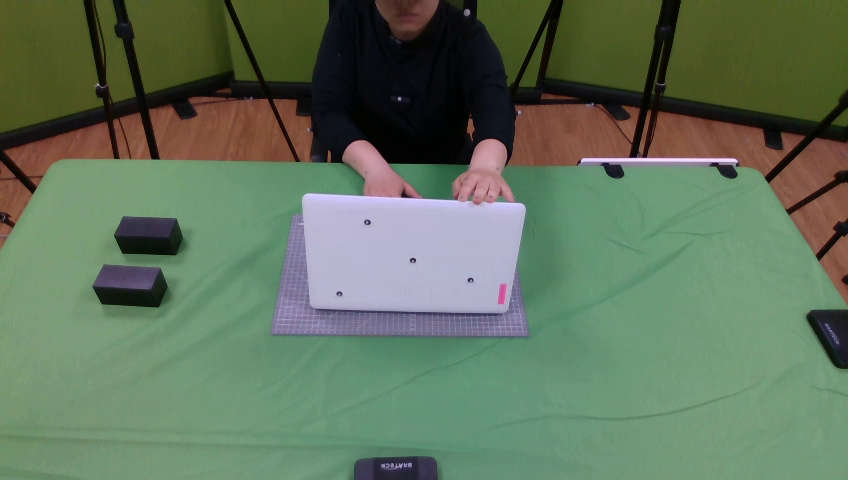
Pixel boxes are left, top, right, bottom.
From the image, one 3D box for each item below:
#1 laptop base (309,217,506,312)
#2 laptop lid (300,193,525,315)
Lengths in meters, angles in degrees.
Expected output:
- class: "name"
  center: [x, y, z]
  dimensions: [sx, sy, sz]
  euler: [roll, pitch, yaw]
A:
- class: "laptop base"
  center: [-0.029, 0.045, 1.154]
  dimensions: [0.354, 0.023, 0.234]
  euler: [2, 42, -3]
- class: "laptop lid"
  center: [-0.021, 0.030, 1.000]
  dimensions: [0.357, 0.243, 0.013]
  euler: [3, 35, -3]
